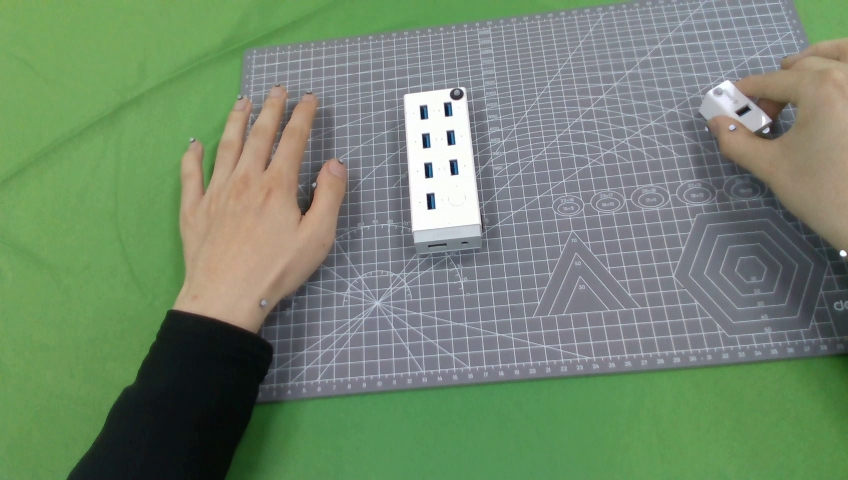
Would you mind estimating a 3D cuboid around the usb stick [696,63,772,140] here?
[{"bbox_3d":[0.216,-0.101,0.432,0.021,0.027,0.058,-12,62,-29],"label":"usb stick"}]

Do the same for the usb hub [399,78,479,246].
[{"bbox_3d":[0.010,-0.059,0.441,0.049,0.025,0.124,-6,68,4],"label":"usb hub"}]
